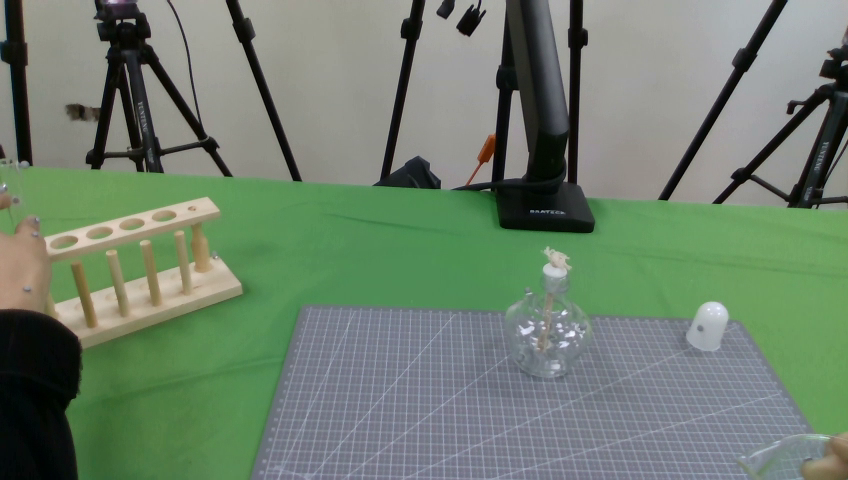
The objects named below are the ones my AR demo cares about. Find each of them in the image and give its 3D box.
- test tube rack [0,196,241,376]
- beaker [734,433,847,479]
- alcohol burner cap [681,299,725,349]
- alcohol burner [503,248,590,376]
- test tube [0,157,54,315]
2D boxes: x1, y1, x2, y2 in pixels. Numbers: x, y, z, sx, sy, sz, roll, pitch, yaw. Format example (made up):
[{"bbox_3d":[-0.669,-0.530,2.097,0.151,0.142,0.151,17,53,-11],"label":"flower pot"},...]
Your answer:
[{"bbox_3d":[-0.302,0.039,0.558,0.243,0.086,0.066,-20,39,-32],"label":"test tube rack"},{"bbox_3d":[0.171,0.147,0.274,0.083,0.101,0.074,24,41,31],"label":"beaker"},{"bbox_3d":[0.271,0.078,0.585,0.034,0.048,0.033,3,33,-1],"label":"alcohol burner cap"},{"bbox_3d":[0.109,0.060,0.532,0.078,0.120,0.077,1,31,0],"label":"alcohol burner"},{"bbox_3d":[-0.343,0.001,0.522,0.017,0.151,0.017,3,28,-1],"label":"test tube"}]
